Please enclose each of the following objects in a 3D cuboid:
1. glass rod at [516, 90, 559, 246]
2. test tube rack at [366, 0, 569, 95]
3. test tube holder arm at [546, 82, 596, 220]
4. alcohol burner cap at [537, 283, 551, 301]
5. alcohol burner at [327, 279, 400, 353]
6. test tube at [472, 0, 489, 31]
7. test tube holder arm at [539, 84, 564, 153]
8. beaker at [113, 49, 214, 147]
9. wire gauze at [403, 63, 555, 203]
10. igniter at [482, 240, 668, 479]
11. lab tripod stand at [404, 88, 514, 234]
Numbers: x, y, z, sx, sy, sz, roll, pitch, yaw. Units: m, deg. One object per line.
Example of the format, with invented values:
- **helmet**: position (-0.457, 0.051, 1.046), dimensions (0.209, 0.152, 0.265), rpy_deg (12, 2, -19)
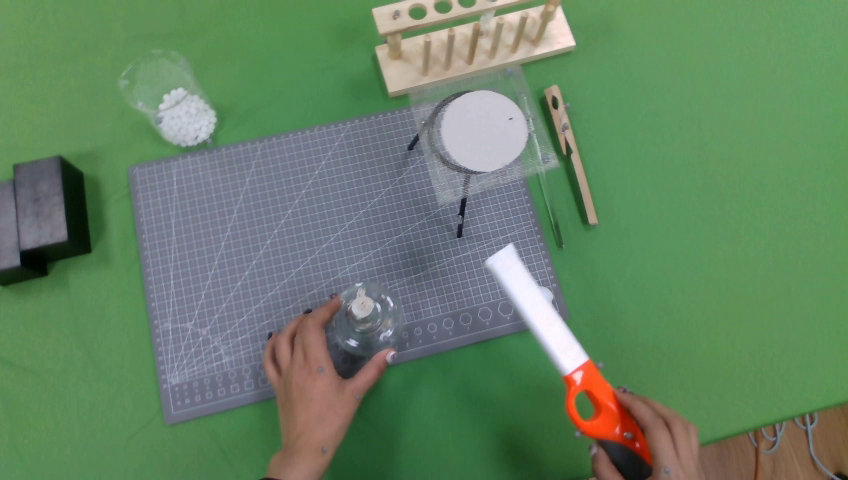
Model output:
- **glass rod**: position (0.136, -0.089, 0.727), dimensions (0.008, 0.008, 0.199), rpy_deg (-11, 79, -5)
- **test tube rack**: position (0.059, -0.253, 0.727), dimensions (0.242, 0.085, 0.066), rpy_deg (-16, 76, -6)
- **test tube holder arm**: position (0.175, -0.108, 0.726), dimensions (0.013, 0.015, 0.177), rpy_deg (-22, 75, 27)
- **alcohol burner cap**: position (0.124, 0.062, 0.665), dimensions (0.034, 0.048, 0.033), rpy_deg (1, 74, -2)
- **alcohol burner**: position (-0.063, 0.074, 0.619), dimensions (0.078, 0.120, 0.077), rpy_deg (0, 73, 0)
- **test tube**: position (0.074, -0.286, 0.685), dimensions (0.017, 0.151, 0.017), rpy_deg (2, 72, -7)
- **test tube holder arm**: position (0.159, -0.148, 0.738), dimensions (0.010, 0.015, 0.087), rpy_deg (-22, 76, 27)
- **beaker**: position (-0.287, -0.154, 0.681), dimensions (0.084, 0.101, 0.073), rpy_deg (4, 74, 0)
- **wire gauze**: position (0.052, -0.109, 0.591), dimensions (0.121, 0.011, 0.124), rpy_deg (-16, 75, -4)
- **igniter**: position (0.141, 0.124, 0.558), dimensions (0.057, 0.025, 0.276), rpy_deg (-32, 87, -13)
- **lab tripod stand**: position (0.038, -0.094, 0.656), dimensions (0.148, 0.132, 0.147), rpy_deg (0, 76, 0)
